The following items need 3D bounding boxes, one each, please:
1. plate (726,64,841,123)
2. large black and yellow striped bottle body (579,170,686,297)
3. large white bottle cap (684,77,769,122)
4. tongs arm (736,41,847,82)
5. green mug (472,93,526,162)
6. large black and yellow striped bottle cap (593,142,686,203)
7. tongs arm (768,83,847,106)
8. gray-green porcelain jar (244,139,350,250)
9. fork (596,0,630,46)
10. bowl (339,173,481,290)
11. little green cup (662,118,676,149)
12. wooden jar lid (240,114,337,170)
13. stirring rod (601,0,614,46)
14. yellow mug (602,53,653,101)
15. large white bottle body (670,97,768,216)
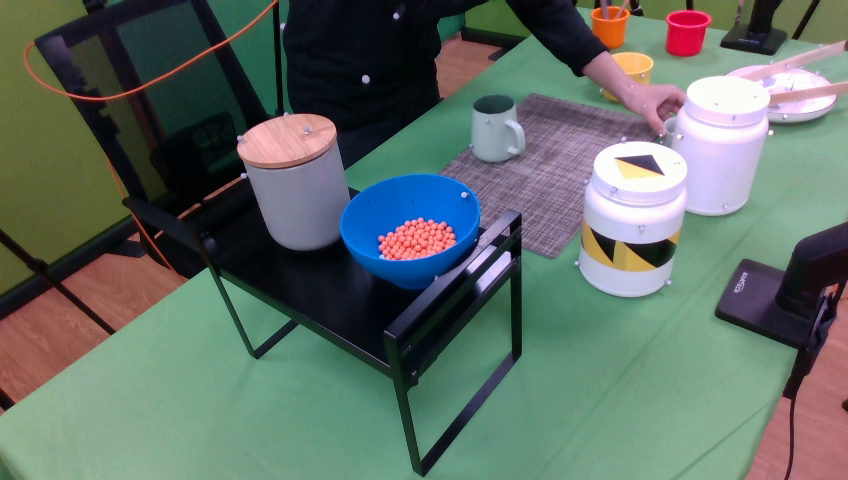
[{"bbox_3d":[0.695,-0.282,1.189,0.207,0.039,0.206,-4,40,4],"label":"plate"},{"bbox_3d":[0.287,-0.027,0.841,0.131,0.185,0.130,-4,40,4],"label":"large black and yellow striped bottle body"},{"bbox_3d":[0.448,-0.209,0.897,0.115,0.018,0.114,-4,40,4],"label":"large white bottle cap"},{"bbox_3d":[0.712,-0.332,1.194,0.386,0.026,0.050,-19,45,-16],"label":"tongs arm"},{"bbox_3d":[0.144,-0.201,1.122,0.093,0.105,0.124,-29,45,-23],"label":"green mug"},{"bbox_3d":[0.280,-0.090,0.786,0.115,0.019,0.114,-5,41,5],"label":"large black and yellow striped bottle cap"},{"bbox_3d":[0.738,-0.281,1.134,0.388,0.028,0.028,-9,47,-5],"label":"tongs arm"},{"bbox_3d":[-0.144,-0.060,0.714,0.106,0.127,0.105,-4,41,4],"label":"gray-green porcelain jar"},{"bbox_3d":[0.481,-0.556,1.452,0.028,0.019,0.207,40,103,38],"label":"fork"},{"bbox_3d":[-0.011,0.001,0.660,0.151,0.077,0.150,-5,40,5],"label":"bowl"},{"bbox_3d":[0.470,-0.191,1.114,0.061,0.039,0.061,-3,44,3],"label":"little green cup"},{"bbox_3d":[-0.149,-0.106,0.673,0.108,0.021,0.108,-6,38,5],"label":"wooden jar lid"},{"bbox_3d":[0.440,-0.552,1.463,0.014,0.006,0.175,-7,83,2],"label":"stirring rod"},{"bbox_3d":[0.424,-0.354,1.292,0.100,0.064,0.129,-23,41,-16],"label":"yellow mug"},{"bbox_3d":[0.458,-0.146,0.952,0.130,0.185,0.130,-4,40,4],"label":"large white bottle body"}]
